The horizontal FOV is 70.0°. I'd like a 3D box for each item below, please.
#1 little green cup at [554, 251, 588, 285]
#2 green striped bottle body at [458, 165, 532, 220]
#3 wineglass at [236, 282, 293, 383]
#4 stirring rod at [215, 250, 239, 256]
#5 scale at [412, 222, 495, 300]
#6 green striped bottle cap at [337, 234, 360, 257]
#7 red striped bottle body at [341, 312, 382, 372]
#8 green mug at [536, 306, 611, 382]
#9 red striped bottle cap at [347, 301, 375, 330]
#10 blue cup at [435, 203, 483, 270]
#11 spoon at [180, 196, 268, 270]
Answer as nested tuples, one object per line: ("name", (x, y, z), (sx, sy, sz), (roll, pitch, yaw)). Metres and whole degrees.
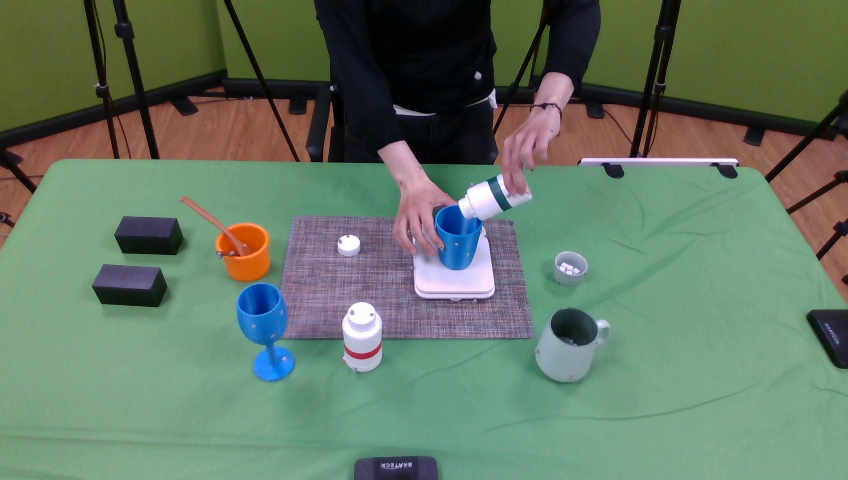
("little green cup", (0.277, 0.055, 1.151), (0.061, 0.039, 0.061), (1, 47, -1))
("green striped bottle body", (0.120, -0.077, 1.044), (0.119, 0.063, 0.063), (-24, 44, 16))
("wineglass", (-0.243, 0.143, 0.934), (0.074, 0.173, 0.073), (2, 46, -2))
("stirring rod", (-0.339, 0.024, 1.059), (0.014, 0.176, 0.006), (18, 86, -6))
("scale", (0.052, 0.031, 1.158), (0.149, 0.032, 0.199), (1, 46, -4))
("green striped bottle cap", (-0.147, 0.010, 1.175), (0.044, 0.020, 0.044), (3, 48, -3))
("red striped bottle body", (-0.100, 0.154, 0.972), (0.063, 0.120, 0.062), (2, 46, -1))
("green mug", (0.250, 0.167, 0.996), (0.125, 0.105, 0.092), (-15, 48, -18))
("red striped bottle cap", (-0.097, 0.116, 0.934), (0.044, 0.018, 0.044), (2, 49, -2))
("blue cup", (0.060, -0.001, 1.098), (0.092, 0.101, 0.092), (1, 44, -1))
("spoon", (-0.360, -0.014, 1.094), (0.021, 0.194, 0.041), (-28, 26, 31))
